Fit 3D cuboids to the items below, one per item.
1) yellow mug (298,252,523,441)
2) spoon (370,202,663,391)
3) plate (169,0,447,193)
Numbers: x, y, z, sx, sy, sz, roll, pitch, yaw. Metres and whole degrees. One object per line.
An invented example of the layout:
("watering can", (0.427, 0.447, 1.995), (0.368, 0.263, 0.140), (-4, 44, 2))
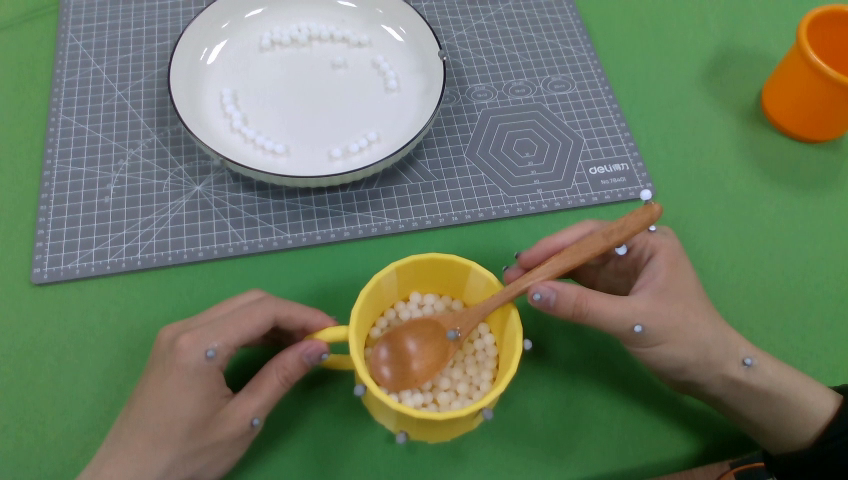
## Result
("yellow mug", (-0.010, 0.066, 0.367), (0.131, 0.064, 0.099), (-1, 62, -4))
("spoon", (0.050, 0.033, 0.351), (0.194, 0.022, 0.041), (-33, 65, 17))
("plate", (-0.086, -0.120, 0.474), (0.208, 0.039, 0.206), (2, 62, -3))
